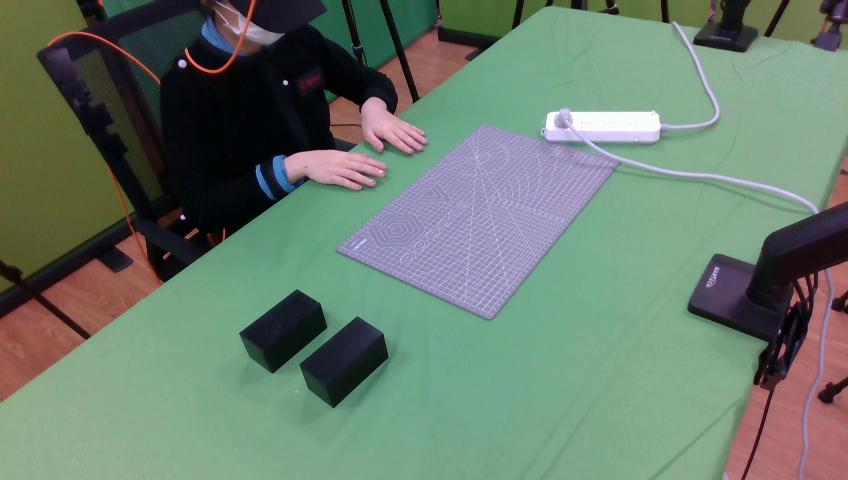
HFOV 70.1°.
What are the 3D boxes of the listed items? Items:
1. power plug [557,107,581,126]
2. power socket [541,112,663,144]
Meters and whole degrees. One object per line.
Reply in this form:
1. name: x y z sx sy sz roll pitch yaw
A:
1. power plug: 0.286 -0.238 1.162 0.073 0.035 0.052 -14 30 -42
2. power socket: 0.341 -0.217 1.164 0.226 0.033 0.072 4 43 12
